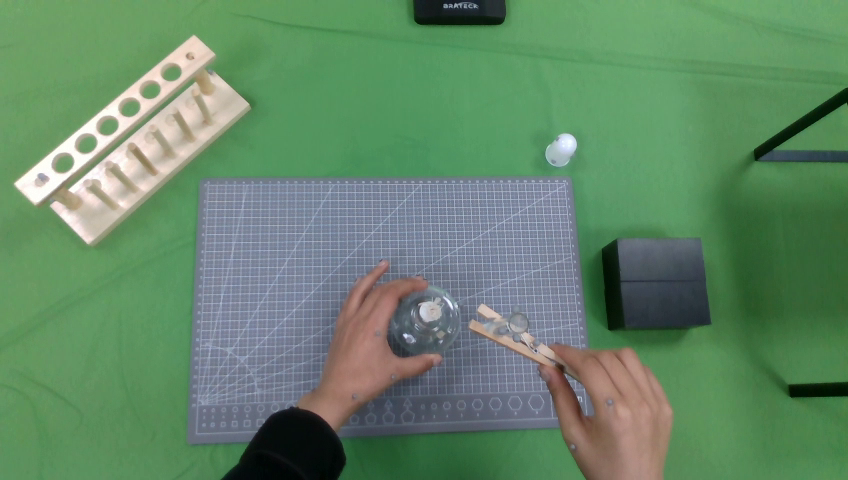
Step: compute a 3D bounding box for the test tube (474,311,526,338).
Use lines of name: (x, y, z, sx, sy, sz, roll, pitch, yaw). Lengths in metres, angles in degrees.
test tube: (0.060, 0.071, 0.501, 0.017, 0.150, 0.017, 1, 79, -4)

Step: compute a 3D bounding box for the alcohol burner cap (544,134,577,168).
alcohol burner cap: (0.170, -0.112, 0.748, 0.034, 0.048, 0.033, 1, 75, -5)

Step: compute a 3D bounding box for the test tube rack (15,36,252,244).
test tube rack: (-0.313, -0.111, 0.679, 0.066, 0.085, 0.242, 43, 76, 7)

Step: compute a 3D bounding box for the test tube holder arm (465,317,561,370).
test tube holder arm: (0.077, 0.089, 0.516, 0.088, 0.015, 0.010, 25, 83, 1)

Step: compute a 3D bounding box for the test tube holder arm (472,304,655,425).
test tube holder arm: (0.119, 0.106, 0.515, 0.178, 0.015, 0.013, 31, 84, 2)

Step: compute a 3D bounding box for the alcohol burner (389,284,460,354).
alcohol burner: (0.002, 0.082, 0.645, 0.078, 0.119, 0.077, 2, 74, -6)
